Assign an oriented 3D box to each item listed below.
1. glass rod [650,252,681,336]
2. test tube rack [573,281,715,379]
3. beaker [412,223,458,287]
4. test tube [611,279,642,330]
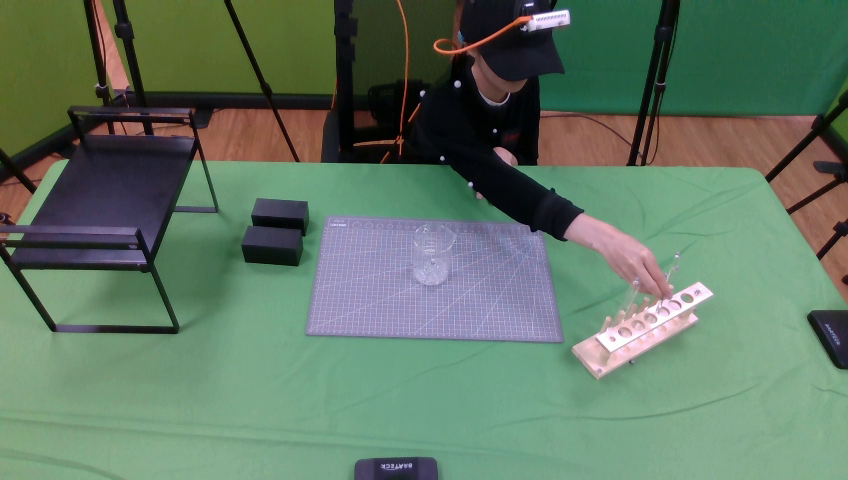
[{"bbox_3d":[0.394,0.093,0.992,0.008,0.201,0.008,-2,43,2],"label":"glass rod"},{"bbox_3d":[0.378,0.140,1.038,0.242,0.085,0.066,-22,51,-23],"label":"test tube rack"},{"bbox_3d":[0.018,0.030,1.109,0.084,0.101,0.073,-10,48,-14],"label":"beaker"},{"bbox_3d":[0.332,0.113,0.999,0.017,0.151,0.017,1,48,-1],"label":"test tube"}]
